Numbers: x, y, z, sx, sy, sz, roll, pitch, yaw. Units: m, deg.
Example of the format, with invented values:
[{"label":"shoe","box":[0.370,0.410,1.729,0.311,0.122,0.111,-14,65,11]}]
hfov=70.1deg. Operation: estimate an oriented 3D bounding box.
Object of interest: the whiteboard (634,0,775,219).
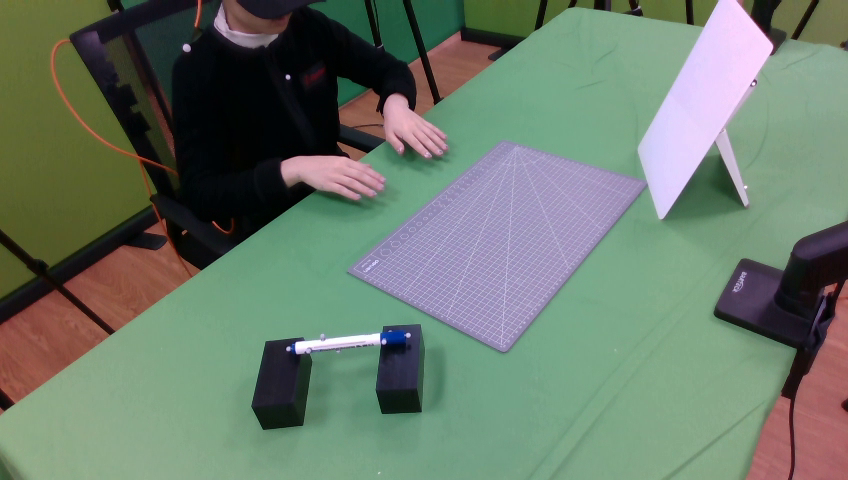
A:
[{"label":"whiteboard","box":[0.485,-0.193,0.957,0.144,0.305,0.216,14,41,-4]}]

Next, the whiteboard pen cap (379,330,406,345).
[{"label":"whiteboard pen cap","box":[-0.040,0.123,0.760,0.033,0.018,0.018,-6,40,2]}]

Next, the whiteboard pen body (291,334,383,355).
[{"label":"whiteboard pen body","box":[-0.098,0.131,0.762,0.141,0.017,0.017,-5,41,1]}]
